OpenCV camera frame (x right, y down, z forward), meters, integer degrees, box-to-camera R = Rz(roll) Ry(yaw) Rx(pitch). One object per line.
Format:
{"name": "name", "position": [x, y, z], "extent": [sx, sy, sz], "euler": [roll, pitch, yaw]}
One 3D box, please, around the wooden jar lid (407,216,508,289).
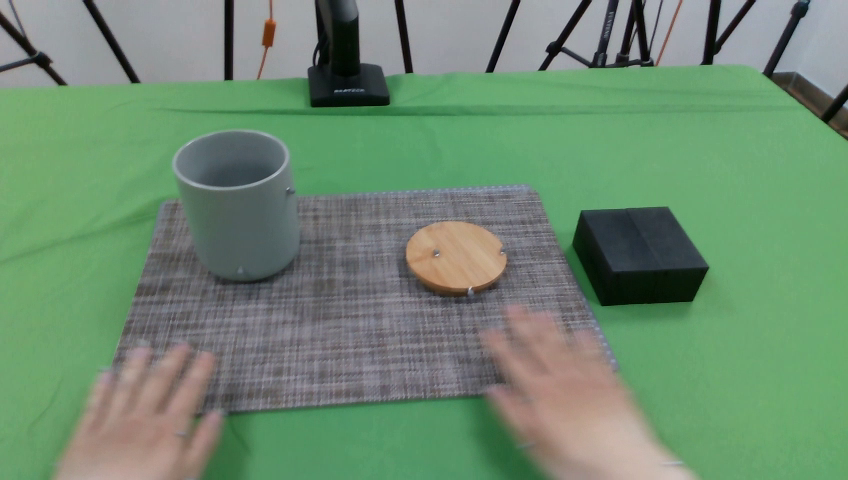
{"name": "wooden jar lid", "position": [0.035, 0.014, 0.651], "extent": [0.108, 0.021, 0.107], "euler": [3, 42, -3]}

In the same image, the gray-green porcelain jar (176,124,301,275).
{"name": "gray-green porcelain jar", "position": [-0.180, -0.036, 0.609], "extent": [0.106, 0.127, 0.105], "euler": [2, 41, -2]}
